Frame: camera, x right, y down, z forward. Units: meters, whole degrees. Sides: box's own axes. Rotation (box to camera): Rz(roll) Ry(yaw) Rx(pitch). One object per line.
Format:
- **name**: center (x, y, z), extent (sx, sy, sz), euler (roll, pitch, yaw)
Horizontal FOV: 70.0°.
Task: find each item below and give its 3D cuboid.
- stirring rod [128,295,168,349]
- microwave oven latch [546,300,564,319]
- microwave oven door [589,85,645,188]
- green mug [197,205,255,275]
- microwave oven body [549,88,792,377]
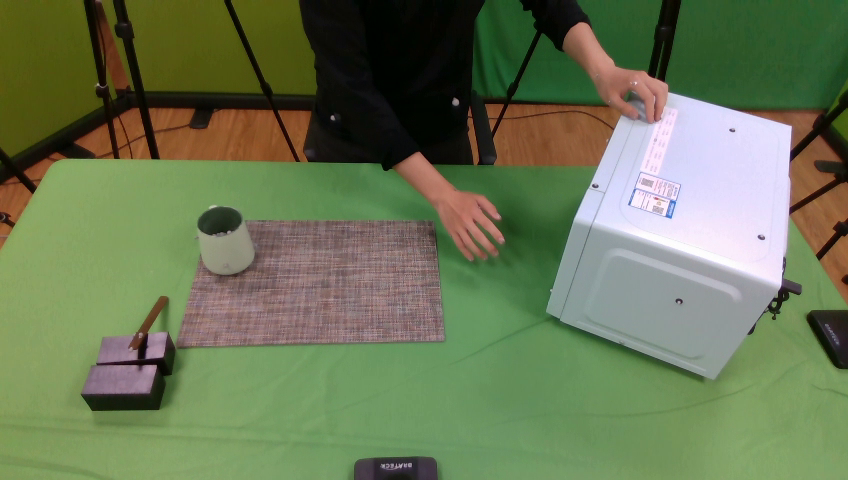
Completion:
- **stirring rod**: center (-0.451, 0.131, 0.996), extent (0.014, 0.006, 0.175), euler (9, 21, -10)
- **microwave oven latch**: center (0.242, 0.102, 1.081), extent (0.030, 0.029, 0.079), euler (21, 48, 17)
- **microwave oven door**: center (0.342, -0.107, 1.149), extent (0.039, 0.245, 0.354), euler (20, 48, 15)
- **green mug**: center (-0.370, -0.008, 1.114), extent (0.092, 0.105, 0.124), euler (-19, 50, -20)
- **microwave oven body**: center (0.456, -0.028, 1.088), extent (0.325, 0.261, 0.440), euler (20, 47, 16)
